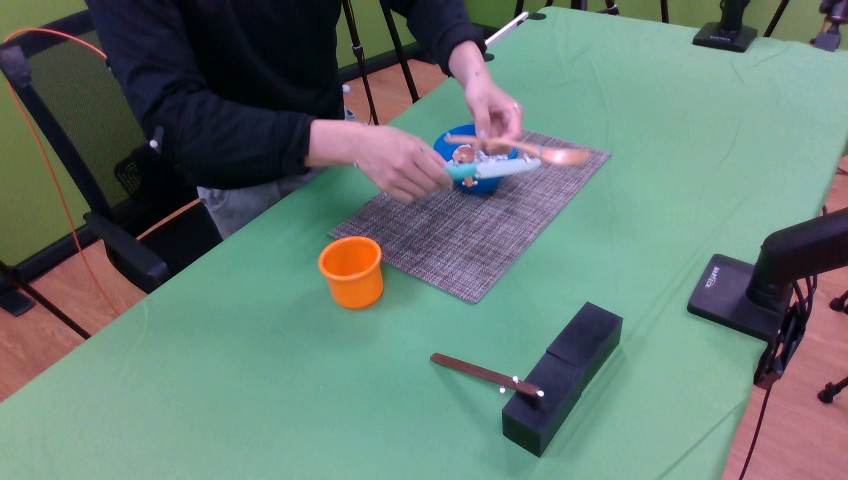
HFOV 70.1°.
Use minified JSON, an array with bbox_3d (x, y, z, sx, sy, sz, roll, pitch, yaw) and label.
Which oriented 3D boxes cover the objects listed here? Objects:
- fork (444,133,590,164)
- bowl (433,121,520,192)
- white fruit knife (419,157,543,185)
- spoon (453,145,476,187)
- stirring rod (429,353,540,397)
[{"bbox_3d":[0.116,-0.124,0.792,0.206,0.019,0.028,15,61,27],"label":"fork"},{"bbox_3d":[0.093,-0.137,1.064,0.151,0.077,0.150,-4,41,4],"label":"bowl"},{"bbox_3d":[0.064,-0.088,0.757,0.206,0.027,0.016,-2,51,47],"label":"white fruit knife"},{"bbox_3d":[0.069,-0.125,1.001,0.041,0.022,0.193,-9,21,6],"label":"spoon"},{"bbox_3d":[0.068,0.162,0.737,0.174,0.006,0.014,8,41,47],"label":"stirring rod"}]
